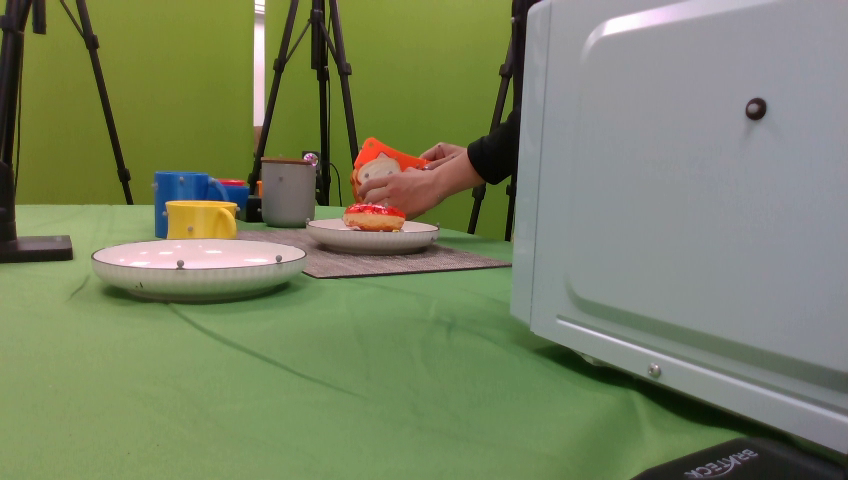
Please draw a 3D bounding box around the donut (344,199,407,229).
[{"bbox_3d":[-0.076,-0.039,0.948,0.099,0.048,0.099,2,4,0],"label":"donut"}]

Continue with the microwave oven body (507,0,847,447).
[{"bbox_3d":[0.331,-0.042,0.425,0.444,0.260,0.324,-2,8,-31],"label":"microwave oven body"}]

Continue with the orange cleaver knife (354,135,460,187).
[{"bbox_3d":[-0.030,-0.142,1.155,0.212,0.077,0.012,12,-7,-22],"label":"orange cleaver knife"}]

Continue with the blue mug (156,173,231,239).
[{"bbox_3d":[-0.381,-0.057,1.004,0.117,0.106,0.082,0,8,-12],"label":"blue mug"}]

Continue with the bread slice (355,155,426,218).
[{"bbox_3d":[-0.071,-0.090,1.122,0.107,0.134,0.018,-31,11,-22],"label":"bread slice"}]

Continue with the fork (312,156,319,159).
[{"bbox_3d":[-0.331,-0.144,1.506,0.207,0.018,0.028,-42,-20,22],"label":"fork"}]

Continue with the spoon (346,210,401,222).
[{"bbox_3d":[-0.121,-0.060,1.400,0.042,0.021,0.192,-28,25,-37],"label":"spoon"}]

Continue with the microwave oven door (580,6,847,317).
[{"bbox_3d":[0.295,-0.067,0.570,0.358,0.243,0.039,-3,8,-31],"label":"microwave oven door"}]

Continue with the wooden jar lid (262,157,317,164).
[{"bbox_3d":[-0.269,-0.154,1.208,0.108,0.020,0.108,3,4,0],"label":"wooden jar lid"}]

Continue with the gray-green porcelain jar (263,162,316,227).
[{"bbox_3d":[-0.271,-0.092,1.217,0.106,0.126,0.106,2,7,0],"label":"gray-green porcelain jar"}]

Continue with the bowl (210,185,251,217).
[{"bbox_3d":[-0.408,-0.064,1.155,0.151,0.077,0.151,2,8,0],"label":"bowl"}]

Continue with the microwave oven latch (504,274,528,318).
[{"bbox_3d":[0.100,0.041,0.471,0.079,0.029,0.030,-1,8,-28],"label":"microwave oven latch"}]

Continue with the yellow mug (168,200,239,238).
[{"bbox_3d":[-0.319,-0.023,0.904,0.130,0.064,0.100,9,11,36],"label":"yellow mug"}]

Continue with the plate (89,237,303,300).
[{"bbox_3d":[-0.233,0.029,0.637,0.208,0.039,0.207,2,7,0],"label":"plate"}]

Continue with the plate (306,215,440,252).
[{"bbox_3d":[-0.079,-0.011,0.950,0.209,0.038,0.209,2,8,0],"label":"plate"}]

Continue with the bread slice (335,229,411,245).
[{"bbox_3d":[-0.074,-0.005,0.938,0.105,0.019,0.131,-2,4,-19],"label":"bread slice"}]
